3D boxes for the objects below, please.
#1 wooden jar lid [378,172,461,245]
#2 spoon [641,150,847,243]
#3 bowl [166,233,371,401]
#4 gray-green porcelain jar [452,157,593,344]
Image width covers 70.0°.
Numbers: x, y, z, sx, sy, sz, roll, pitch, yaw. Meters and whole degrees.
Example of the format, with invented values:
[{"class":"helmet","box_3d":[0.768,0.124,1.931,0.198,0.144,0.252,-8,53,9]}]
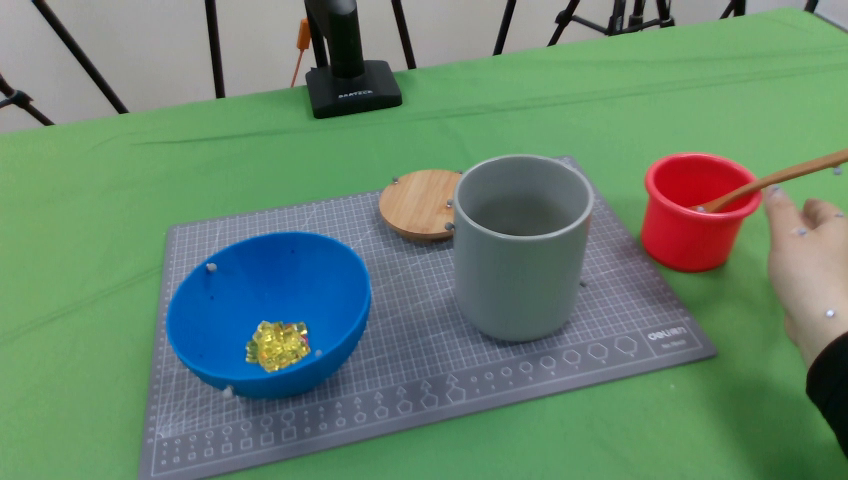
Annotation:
[{"class":"wooden jar lid","box_3d":[0.007,-0.032,0.629,0.108,0.021,0.107,-2,41,2]},{"class":"spoon","box_3d":[0.280,-0.038,0.528,0.022,0.193,0.041,45,44,-15]},{"class":"bowl","box_3d":[-0.113,0.072,0.477,0.151,0.077,0.150,-2,42,2]},{"class":"gray-green porcelain jar","box_3d":[0.076,0.014,0.492,0.106,0.127,0.105,-2,42,2]}]
